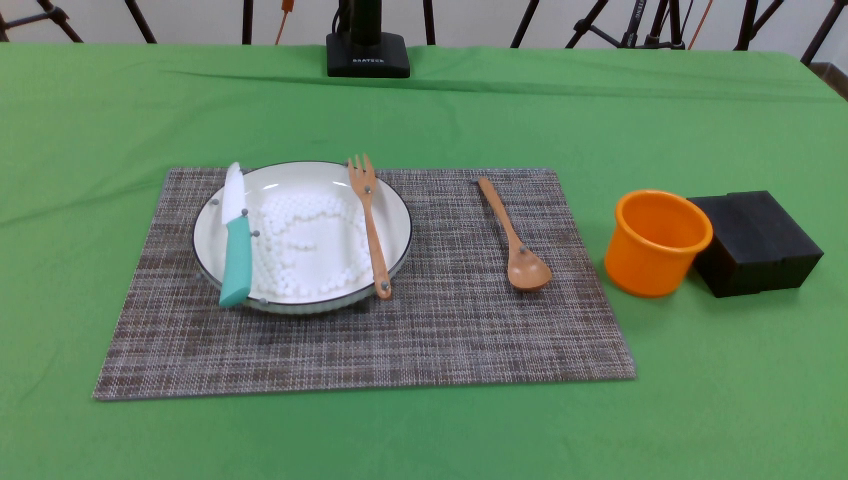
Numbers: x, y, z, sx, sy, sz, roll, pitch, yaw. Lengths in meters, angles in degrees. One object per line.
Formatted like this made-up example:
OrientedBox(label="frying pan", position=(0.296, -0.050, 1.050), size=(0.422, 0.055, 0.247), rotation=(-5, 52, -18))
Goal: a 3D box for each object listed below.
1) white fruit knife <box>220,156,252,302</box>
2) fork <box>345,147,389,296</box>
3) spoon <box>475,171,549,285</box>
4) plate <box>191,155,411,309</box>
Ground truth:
OrientedBox(label="white fruit knife", position=(-0.179, -0.021, 0.573), size=(0.027, 0.016, 0.205), rotation=(-9, 45, -10))
OrientedBox(label="fork", position=(-0.055, -0.026, 0.592), size=(0.028, 0.019, 0.205), rotation=(-12, 44, -4))
OrientedBox(label="spoon", position=(0.086, -0.020, 0.643), size=(0.041, 0.022, 0.191), rotation=(-18, 46, 1))
OrientedBox(label="plate", position=(-0.117, -0.009, 0.599), size=(0.209, 0.038, 0.207), rotation=(3, 44, -3))
